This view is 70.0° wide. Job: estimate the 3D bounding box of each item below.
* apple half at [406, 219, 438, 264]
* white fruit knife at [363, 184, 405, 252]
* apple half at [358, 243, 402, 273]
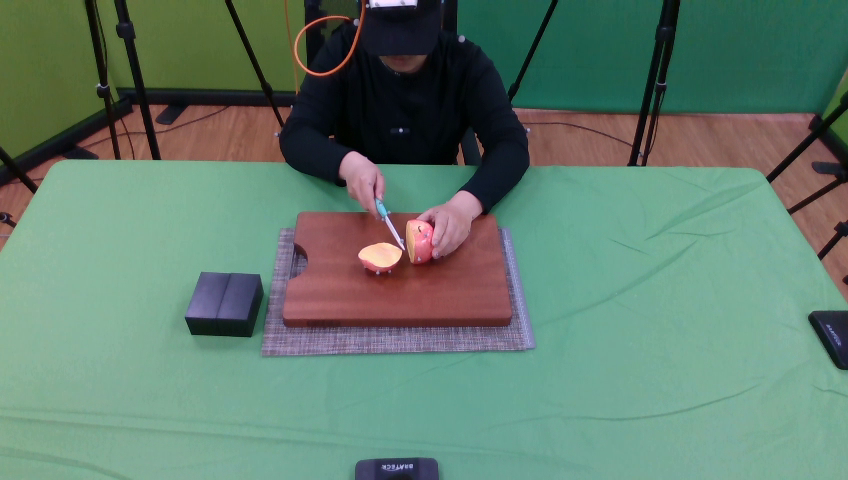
[{"bbox_3d":[-0.002,0.003,1.120,0.053,0.075,0.080,-5,43,-13],"label":"apple half"},{"bbox_3d":[-0.073,-0.045,1.131,0.016,0.027,0.206,-20,46,-14],"label":"white fruit knife"},{"bbox_3d":[-0.078,0.038,1.110,0.081,0.033,0.081,1,30,0],"label":"apple half"}]
